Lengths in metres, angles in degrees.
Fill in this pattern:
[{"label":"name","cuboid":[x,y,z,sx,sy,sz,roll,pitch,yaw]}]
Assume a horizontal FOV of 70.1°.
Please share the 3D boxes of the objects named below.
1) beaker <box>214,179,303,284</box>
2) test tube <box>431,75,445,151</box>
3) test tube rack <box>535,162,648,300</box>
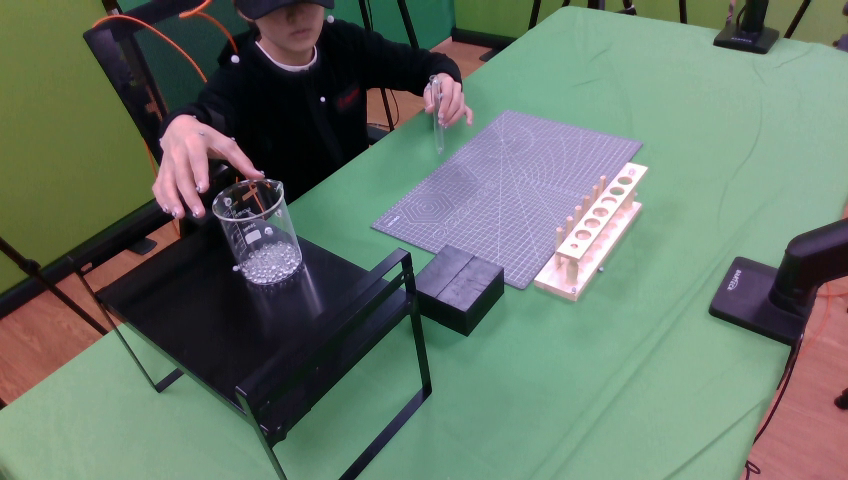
[{"label":"beaker","cuboid":[-0.178,-0.008,0.675,0.073,0.101,0.084,22,48,30]},{"label":"test tube","cuboid":[0.025,-0.218,1.054,0.017,0.151,0.017,-3,45,4]},{"label":"test tube rack","cuboid":[0.257,-0.024,0.916,0.066,0.085,0.243,22,49,30]}]
